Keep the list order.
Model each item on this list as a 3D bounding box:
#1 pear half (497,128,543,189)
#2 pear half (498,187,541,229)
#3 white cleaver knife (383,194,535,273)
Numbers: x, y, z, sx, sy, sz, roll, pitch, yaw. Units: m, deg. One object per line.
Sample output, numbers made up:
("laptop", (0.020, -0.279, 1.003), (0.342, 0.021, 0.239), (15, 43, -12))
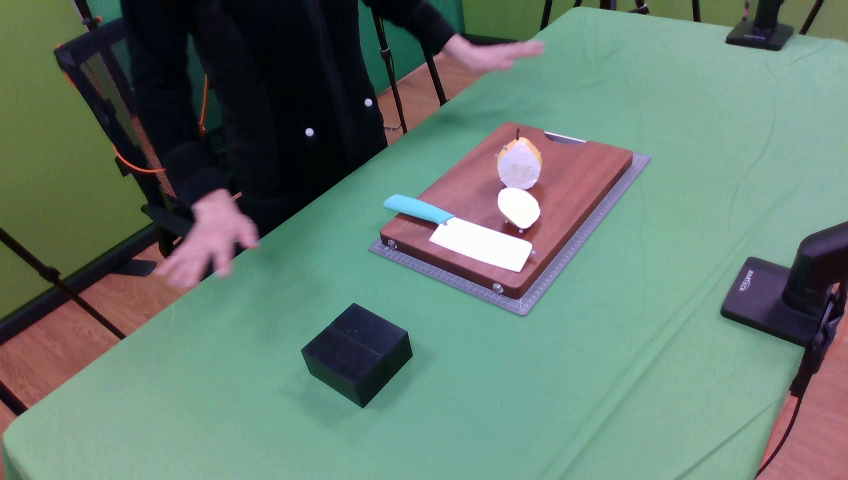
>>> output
("pear half", (0.162, -0.145, 1.014), (0.076, 0.110, 0.056), (2, 41, 8))
("pear half", (0.149, -0.045, 0.957), (0.070, 0.031, 0.087), (4, 53, -9))
("white cleaver knife", (0.043, -0.016, 0.953), (0.284, 0.022, 0.066), (21, 59, 33))
